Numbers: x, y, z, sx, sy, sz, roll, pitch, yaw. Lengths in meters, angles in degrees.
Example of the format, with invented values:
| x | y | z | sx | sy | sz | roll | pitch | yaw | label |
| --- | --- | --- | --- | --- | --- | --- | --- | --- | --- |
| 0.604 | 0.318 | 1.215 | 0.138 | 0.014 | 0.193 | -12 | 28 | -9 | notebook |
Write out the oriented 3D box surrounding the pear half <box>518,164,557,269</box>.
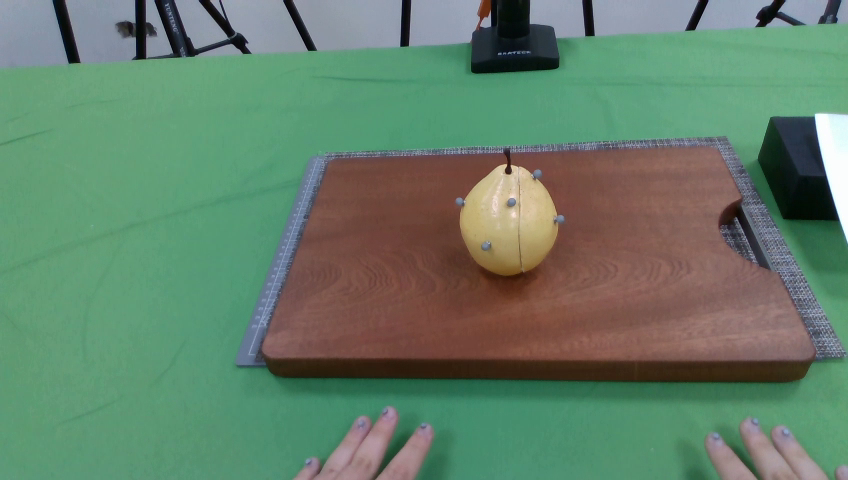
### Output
| x | y | z | sx | sy | sz | roll | pitch | yaw | label |
| --- | --- | --- | --- | --- | --- | --- | --- | --- | --- |
| 0.089 | -0.019 | 0.480 | 0.031 | 0.089 | 0.070 | -1 | 34 | 7 | pear half |

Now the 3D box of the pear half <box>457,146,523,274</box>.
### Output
| x | y | z | sx | sy | sz | roll | pitch | yaw | label |
| --- | --- | --- | --- | --- | --- | --- | --- | --- | --- |
| 0.053 | -0.027 | 0.479 | 0.056 | 0.111 | 0.075 | -1 | 38 | 7 | pear half |

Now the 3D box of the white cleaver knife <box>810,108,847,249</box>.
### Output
| x | y | z | sx | sy | sz | roll | pitch | yaw | label |
| --- | --- | --- | --- | --- | --- | --- | --- | --- | --- |
| 0.369 | -0.007 | 0.487 | 0.066 | 0.022 | 0.284 | 0 | 53 | 13 | white cleaver knife |
